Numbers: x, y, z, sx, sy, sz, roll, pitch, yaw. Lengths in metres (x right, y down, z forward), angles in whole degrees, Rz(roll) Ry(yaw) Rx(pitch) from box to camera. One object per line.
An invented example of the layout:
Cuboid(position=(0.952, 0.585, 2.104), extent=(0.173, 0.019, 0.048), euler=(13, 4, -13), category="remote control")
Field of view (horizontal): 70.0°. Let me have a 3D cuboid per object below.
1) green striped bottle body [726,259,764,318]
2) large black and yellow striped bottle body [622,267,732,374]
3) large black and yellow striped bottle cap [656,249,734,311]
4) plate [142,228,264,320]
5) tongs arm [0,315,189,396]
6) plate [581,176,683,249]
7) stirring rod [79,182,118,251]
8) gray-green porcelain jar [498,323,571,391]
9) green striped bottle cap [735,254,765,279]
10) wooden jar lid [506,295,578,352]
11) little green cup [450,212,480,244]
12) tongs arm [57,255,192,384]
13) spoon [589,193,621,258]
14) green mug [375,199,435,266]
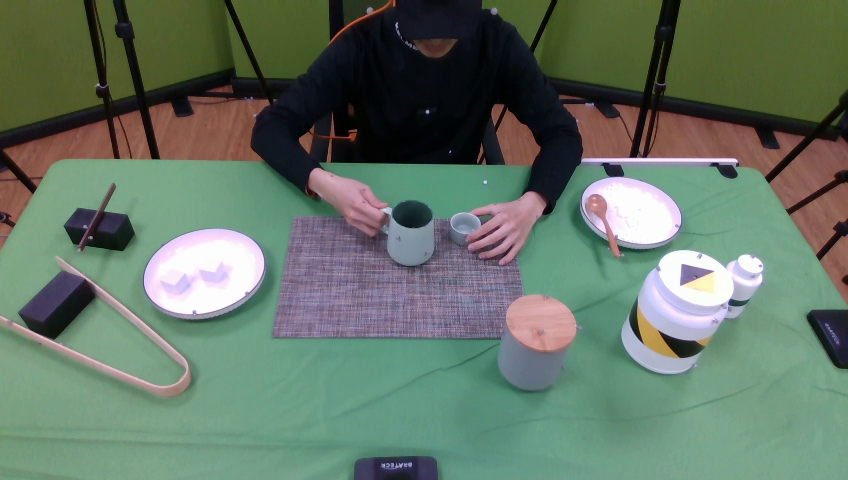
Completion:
Cuboid(position=(0.563, 0.081, 1.089), extent=(0.063, 0.120, 0.063), euler=(2, 46, -2), category="green striped bottle body")
Cuboid(position=(0.415, 0.119, 0.997), extent=(0.131, 0.185, 0.130), euler=(2, 46, -2), category="large black and yellow striped bottle body")
Cuboid(position=(0.419, 0.061, 0.938), extent=(0.115, 0.019, 0.114), euler=(2, 47, -2), category="large black and yellow striped bottle cap")
Cuboid(position=(-0.394, 0.064, 1.095), extent=(0.208, 0.039, 0.206), euler=(2, 46, -2), category="plate")
Cuboid(position=(-0.555, 0.170, 0.981), extent=(0.384, 0.026, 0.050), euler=(21, 43, 14), category="tongs arm")
Cuboid(position=(0.430, -0.054, 1.267), extent=(0.209, 0.038, 0.208), euler=(2, 46, -2), category="plate")
Cuboid(position=(-0.605, -0.046, 1.130), extent=(0.006, 0.014, 0.175), euler=(0, 47, 1), category="stirring rod")
Cuboid(position=(0.176, 0.172, 0.971), extent=(0.106, 0.127, 0.105), euler=(2, 46, -2), category="gray-green porcelain jar")
Cuboid(position=(0.566, 0.046, 1.051), extent=(0.044, 0.020, 0.044), euler=(0, 45, 0), category="green striped bottle cap")
Cuboid(position=(0.179, 0.130, 0.925), extent=(0.108, 0.021, 0.107), euler=(2, 43, -2), category="wooden jar lid")
Cuboid(position=(0.080, -0.022, 1.205), extent=(0.061, 0.039, 0.061), euler=(3, 49, -3), category="little green cup")
Cuboid(position=(-0.517, 0.126, 1.033), extent=(0.386, 0.028, 0.028), euler=(30, 43, 23), category="tongs arm")
Cuboid(position=(0.367, -0.032, 1.220), extent=(0.041, 0.022, 0.192), euler=(2, 38, -1), category="spoon")
Cuboid(position=(-0.038, -0.019, 1.149), extent=(0.125, 0.105, 0.092), euler=(25, 50, 18), category="green mug")
